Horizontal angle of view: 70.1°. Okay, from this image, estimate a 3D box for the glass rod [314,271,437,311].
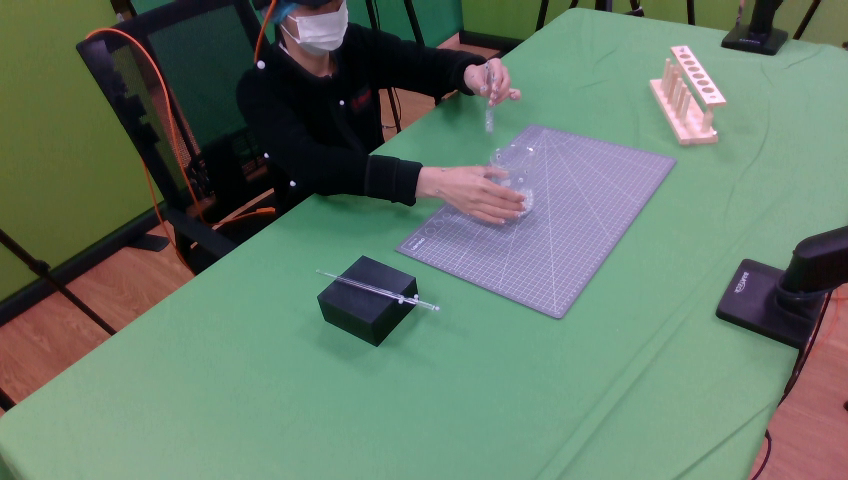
[{"bbox_3d":[-0.072,0.069,0.837,0.198,0.008,0.008,14,44,24],"label":"glass rod"}]

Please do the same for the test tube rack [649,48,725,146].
[{"bbox_3d":[0.508,-0.285,1.186,0.067,0.085,0.241,-4,40,6],"label":"test tube rack"}]

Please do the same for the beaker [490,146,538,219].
[{"bbox_3d":[0.149,-0.093,0.984,0.084,0.101,0.073,-25,42,-20],"label":"beaker"}]

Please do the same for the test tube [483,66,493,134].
[{"bbox_3d":[0.112,-0.239,1.054,0.017,0.151,0.017,-3,56,5],"label":"test tube"}]
